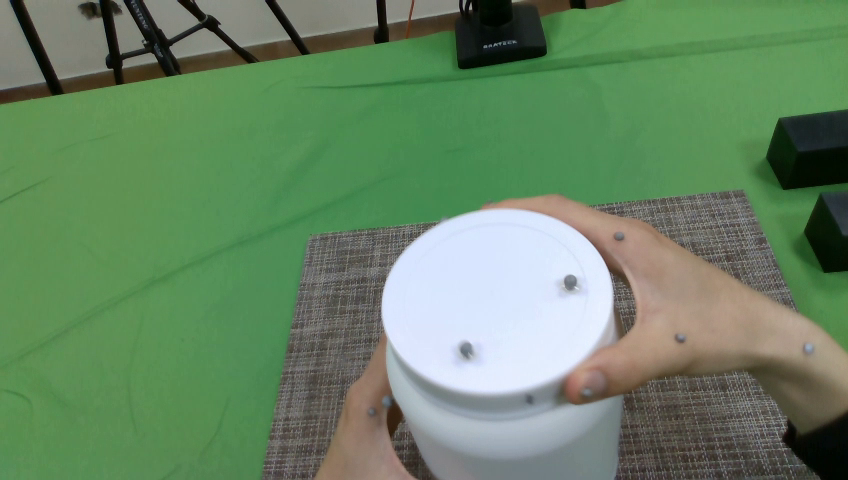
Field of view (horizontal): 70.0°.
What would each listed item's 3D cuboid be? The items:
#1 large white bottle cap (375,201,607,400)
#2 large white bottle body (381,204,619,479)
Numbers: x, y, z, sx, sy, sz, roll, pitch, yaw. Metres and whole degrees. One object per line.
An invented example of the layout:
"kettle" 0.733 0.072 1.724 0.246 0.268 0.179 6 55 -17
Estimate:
"large white bottle cap" 0.032 0.025 0.304 0.115 0.018 0.113 -7 47 8
"large white bottle body" 0.048 0.080 0.367 0.130 0.186 0.129 -7 48 8
